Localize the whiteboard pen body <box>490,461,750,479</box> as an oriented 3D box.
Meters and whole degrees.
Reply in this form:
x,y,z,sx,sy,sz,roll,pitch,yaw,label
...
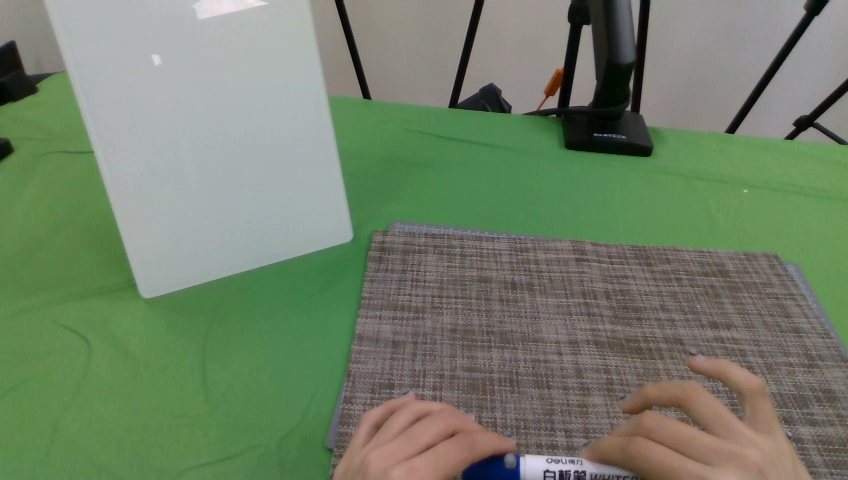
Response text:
x,y,z,sx,sy,sz,roll,pitch,yaw,label
0.098,0.127,0.319,0.140,0.017,0.017,0,36,6,whiteboard pen body

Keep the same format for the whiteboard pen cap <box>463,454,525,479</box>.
x,y,z,sx,sy,sz,roll,pitch,yaw,label
0.038,0.125,0.330,0.033,0.018,0.018,-4,36,10,whiteboard pen cap

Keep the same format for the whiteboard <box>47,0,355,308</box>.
x,y,z,sx,sy,sz,roll,pitch,yaw,label
-0.218,-0.123,0.618,0.218,0.307,0.142,-17,22,-23,whiteboard
